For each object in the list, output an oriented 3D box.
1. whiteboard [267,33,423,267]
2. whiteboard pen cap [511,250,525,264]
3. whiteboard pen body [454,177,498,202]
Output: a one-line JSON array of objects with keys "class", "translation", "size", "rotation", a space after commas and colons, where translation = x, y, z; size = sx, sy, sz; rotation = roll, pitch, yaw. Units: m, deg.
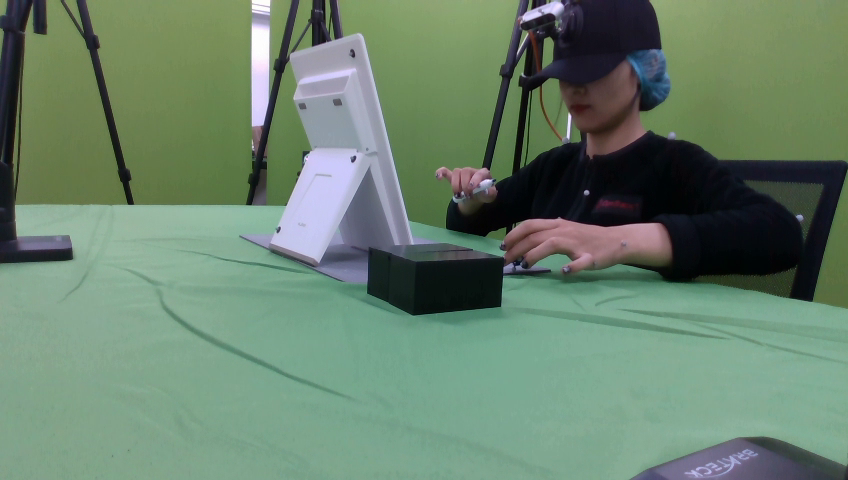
[{"class": "whiteboard", "translation": [-0.153, -0.097, 0.819], "size": [0.144, 0.305, 0.216], "rotation": [-25, 21, -29]}, {"class": "whiteboard pen cap", "translation": [0.121, 0.022, 0.781], "size": [0.018, 0.018, 0.033], "rotation": [2, -1, 4]}, {"class": "whiteboard pen body", "translation": [0.091, -0.090, 1.062], "size": [0.017, 0.017, 0.140], "rotation": [-2, -10, -26]}]
